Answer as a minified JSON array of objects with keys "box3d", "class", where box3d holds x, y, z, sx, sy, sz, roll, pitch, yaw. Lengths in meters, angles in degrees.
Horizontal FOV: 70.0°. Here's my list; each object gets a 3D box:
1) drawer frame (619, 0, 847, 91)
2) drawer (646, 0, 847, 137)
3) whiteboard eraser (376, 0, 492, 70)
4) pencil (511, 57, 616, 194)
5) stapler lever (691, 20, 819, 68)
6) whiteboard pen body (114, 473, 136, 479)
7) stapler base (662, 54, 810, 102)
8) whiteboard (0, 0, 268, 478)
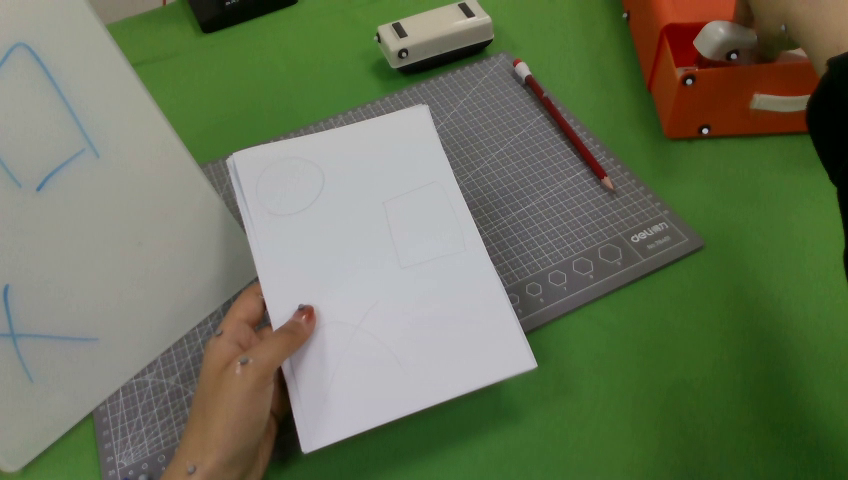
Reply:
[{"box3d":[0.304,-0.244,0.595,0.201,0.083,0.211,-3,51,5],"class":"drawer frame"},{"box3d":[0.302,-0.192,0.557,0.194,0.074,0.209,-3,51,5],"class":"drawer"},{"box3d":[0.010,-0.211,0.629,0.113,0.042,0.055,-19,53,-8],"class":"whiteboard eraser"},{"box3d":[0.124,-0.109,0.553,0.012,0.012,0.192,-19,55,-9],"class":"pencil"},{"box3d":[0.277,-0.159,0.502,0.118,0.040,0.026,-4,57,-12],"class":"stapler lever"},{"box3d":[-0.229,0.191,0.349,0.017,0.017,0.140,35,62,29],"class":"whiteboard pen body"},{"box3d":[0.273,-0.143,0.522,0.131,0.024,0.041,-5,57,-11],"class":"stapler base"},{"box3d":[-0.290,-0.042,0.396,0.217,0.308,0.142,-42,39,-23],"class":"whiteboard"}]
